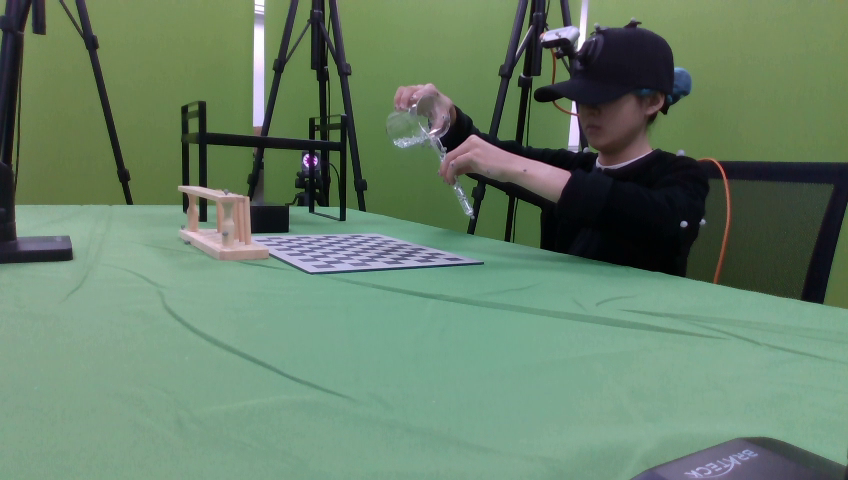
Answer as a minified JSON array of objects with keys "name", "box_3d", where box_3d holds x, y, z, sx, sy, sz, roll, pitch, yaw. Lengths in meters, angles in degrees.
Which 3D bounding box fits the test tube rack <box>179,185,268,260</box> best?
[{"name":"test tube rack","box_3d":[-0.303,-0.031,0.898,0.067,0.085,0.241,-2,9,-33]}]

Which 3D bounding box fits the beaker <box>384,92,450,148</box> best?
[{"name":"beaker","box_3d":[-0.014,-0.199,1.039,0.074,0.084,0.100,-2,-5,-39]}]

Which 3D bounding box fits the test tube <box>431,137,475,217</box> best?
[{"name":"test tube","box_3d":[0.047,-0.103,0.976,0.017,0.150,0.017,-22,-19,-8]}]
